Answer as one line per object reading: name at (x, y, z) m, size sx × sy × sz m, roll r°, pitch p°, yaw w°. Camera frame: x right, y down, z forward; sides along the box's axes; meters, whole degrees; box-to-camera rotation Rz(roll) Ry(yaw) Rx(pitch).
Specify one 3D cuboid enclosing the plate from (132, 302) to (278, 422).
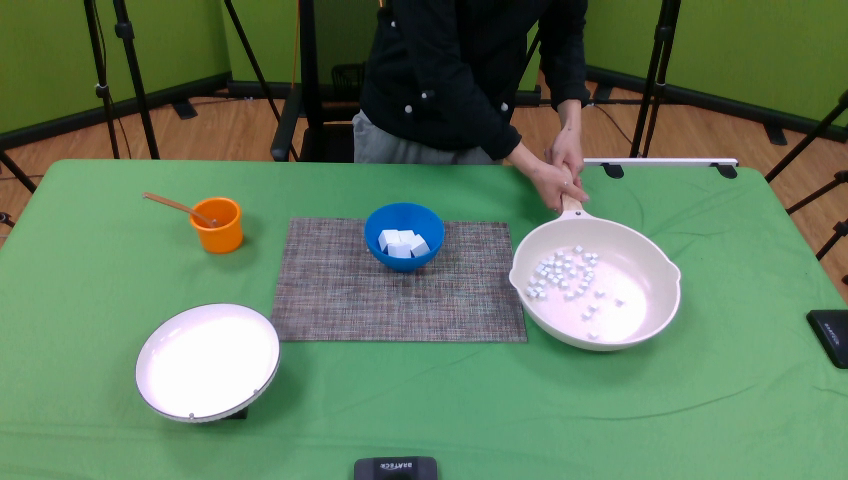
plate at (-0.325, 0.186, 0.916) m, size 0.208 × 0.039 × 0.206 m, roll 3°, pitch 44°, yaw -2°

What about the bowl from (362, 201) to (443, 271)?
bowl at (-0.041, 0.006, 1.145) m, size 0.151 × 0.077 × 0.150 m, roll 2°, pitch 46°, yaw -2°

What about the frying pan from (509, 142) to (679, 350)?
frying pan at (0.297, -0.006, 1.156) m, size 0.307 × 0.103 × 0.485 m, roll -1°, pitch 56°, yaw -3°

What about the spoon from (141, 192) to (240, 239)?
spoon at (-0.428, -0.048, 1.122) m, size 0.021 × 0.195 × 0.041 m, roll -38°, pitch 44°, yaw 21°
